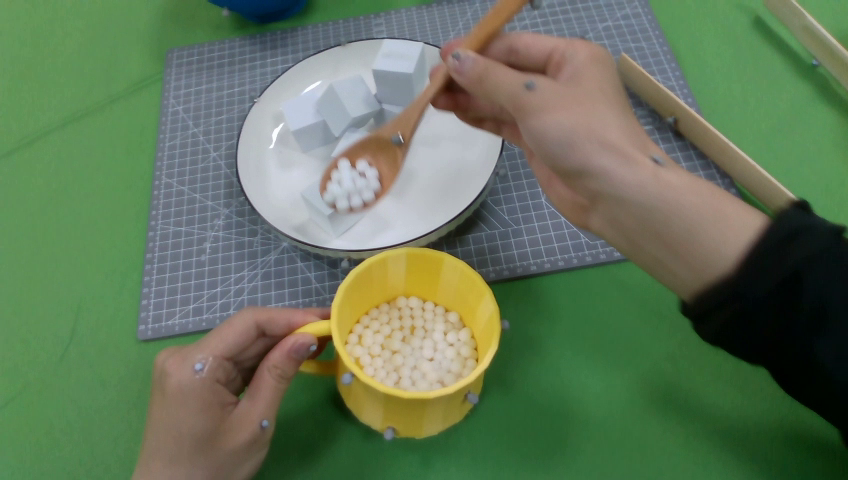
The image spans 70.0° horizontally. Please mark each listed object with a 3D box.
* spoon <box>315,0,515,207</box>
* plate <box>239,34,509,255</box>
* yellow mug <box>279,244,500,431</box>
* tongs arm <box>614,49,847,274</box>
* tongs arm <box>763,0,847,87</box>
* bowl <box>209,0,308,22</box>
[{"bbox_3d":[0.007,-0.094,0.348,0.041,0.022,0.194,46,102,16],"label":"spoon"},{"bbox_3d":[-0.038,-0.076,0.478,0.207,0.039,0.206,-3,61,5],"label":"plate"},{"bbox_3d":[-0.022,0.061,0.373,0.131,0.064,0.099,-5,55,-9],"label":"yellow mug"},{"bbox_3d":[0.272,-0.017,0.418,0.028,0.028,0.384,-32,64,-15],"label":"tongs arm"},{"bbox_3d":[0.344,-0.054,0.427,0.051,0.027,0.381,-22,63,-6],"label":"tongs arm"},{"bbox_3d":[-0.155,-0.264,0.575,0.151,0.077,0.150,-3,61,6],"label":"bowl"}]
